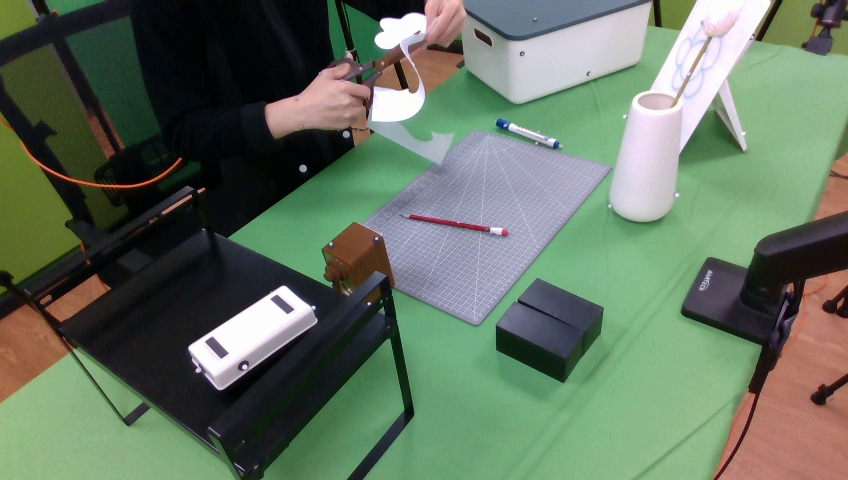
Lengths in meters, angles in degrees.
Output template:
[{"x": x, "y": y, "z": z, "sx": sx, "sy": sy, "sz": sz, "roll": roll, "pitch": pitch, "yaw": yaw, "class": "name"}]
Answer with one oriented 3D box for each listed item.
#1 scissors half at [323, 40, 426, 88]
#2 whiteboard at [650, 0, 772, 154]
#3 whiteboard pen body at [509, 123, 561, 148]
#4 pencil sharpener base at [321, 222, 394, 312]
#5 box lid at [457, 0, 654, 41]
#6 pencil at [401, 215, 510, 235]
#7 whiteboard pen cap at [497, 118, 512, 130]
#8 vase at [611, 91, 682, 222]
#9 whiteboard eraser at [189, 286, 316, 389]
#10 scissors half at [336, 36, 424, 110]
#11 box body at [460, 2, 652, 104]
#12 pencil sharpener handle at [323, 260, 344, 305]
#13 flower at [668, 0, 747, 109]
[{"x": -0.077, "y": -0.273, "z": 0.919, "sx": 0.174, "sy": 0.040, "sz": 0.013, "roll": -13, "pitch": 27, "yaw": 17, "class": "scissors half"}, {"x": 0.543, "y": -0.298, "z": 1.076, "sx": 0.144, "sy": 0.305, "sz": 0.216, "roll": 12, "pitch": 40, "yaw": -7, "class": "whiteboard"}, {"x": 0.208, "y": -0.211, "z": 1.196, "sx": 0.139, "sy": 0.017, "sz": 0.017, "roll": 30, "pitch": 52, "yaw": 33, "class": "whiteboard pen body"}, {"x": -0.096, "y": 0.041, "z": 0.873, "sx": 0.061, "sy": 0.107, "sz": 0.077, "roll": 26, "pitch": 54, "yaw": 32, "class": "pencil sharpener base"}, {"x": 0.285, "y": -0.522, "z": 1.323, "sx": 0.373, "sy": 0.015, "sz": 0.261, "roll": -22, "pitch": 43, "yaw": -16, "class": "box lid"}, {"x": 0.049, "y": -0.027, "z": 1.007, "sx": 0.193, "sy": 0.012, "sz": 0.012, "roll": 10, "pitch": 43, "yaw": 21, "class": "pencil"}, {"x": 0.165, "y": -0.235, "z": 1.227, "sx": 0.033, "sy": 0.018, "sz": 0.018, "roll": 31, "pitch": 53, "yaw": 31, "class": "whiteboard pen cap"}, {"x": 0.348, "y": -0.125, "z": 0.935, "sx": 0.098, "sy": 0.201, "sz": 0.097, "roll": -3, "pitch": 40, "yaw": 3, "class": "vase"}, {"x": -0.166, "y": 0.096, "z": 0.593, "sx": 0.113, "sy": 0.042, "sz": 0.055, "roll": -36, "pitch": 47, "yaw": -29, "class": "whiteboard eraser"}, {"x": -0.066, "y": -0.256, "z": 0.925, "sx": 0.174, "sy": 0.040, "sz": 0.013, "roll": -36, "pitch": 13, "yaw": 25, "class": "scissors half"}, {"x": 0.291, "y": -0.465, "z": 1.371, "sx": 0.365, "sy": 0.161, "sz": 0.252, "roll": -22, "pitch": 42, "yaw": -16, "class": "box body"}, {"x": -0.131, "y": 0.061, "z": 0.839, "sx": 0.035, "sy": 0.068, "sz": 0.031, "roll": 29, "pitch": 56, "yaw": 28, "class": "pencil sharpener handle"}, {"x": 0.354, "y": -0.187, "z": 0.879, "sx": 0.038, "sy": 0.362, "sz": 0.044, "roll": 30, "pitch": 48, "yaw": 14, "class": "flower"}]
